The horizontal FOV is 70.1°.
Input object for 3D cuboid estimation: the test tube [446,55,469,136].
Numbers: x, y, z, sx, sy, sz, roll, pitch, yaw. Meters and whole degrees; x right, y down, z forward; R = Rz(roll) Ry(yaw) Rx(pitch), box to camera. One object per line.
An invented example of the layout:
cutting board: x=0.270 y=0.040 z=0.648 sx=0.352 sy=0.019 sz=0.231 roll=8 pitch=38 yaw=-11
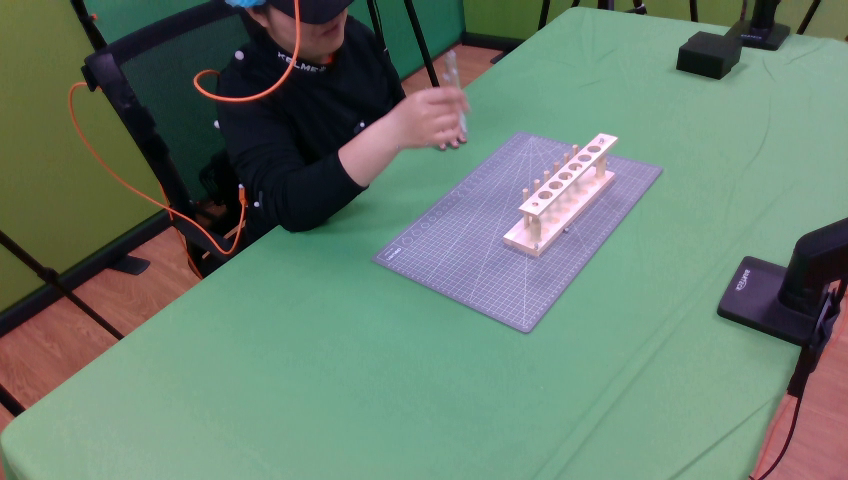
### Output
test tube: x=0.052 y=-0.217 z=0.927 sx=0.017 sy=0.151 sz=0.017 roll=-7 pitch=52 yaw=9

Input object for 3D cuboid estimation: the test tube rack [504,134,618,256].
test tube rack: x=0.225 y=-0.083 z=0.985 sx=0.066 sy=0.085 sz=0.243 roll=25 pitch=50 yaw=34
